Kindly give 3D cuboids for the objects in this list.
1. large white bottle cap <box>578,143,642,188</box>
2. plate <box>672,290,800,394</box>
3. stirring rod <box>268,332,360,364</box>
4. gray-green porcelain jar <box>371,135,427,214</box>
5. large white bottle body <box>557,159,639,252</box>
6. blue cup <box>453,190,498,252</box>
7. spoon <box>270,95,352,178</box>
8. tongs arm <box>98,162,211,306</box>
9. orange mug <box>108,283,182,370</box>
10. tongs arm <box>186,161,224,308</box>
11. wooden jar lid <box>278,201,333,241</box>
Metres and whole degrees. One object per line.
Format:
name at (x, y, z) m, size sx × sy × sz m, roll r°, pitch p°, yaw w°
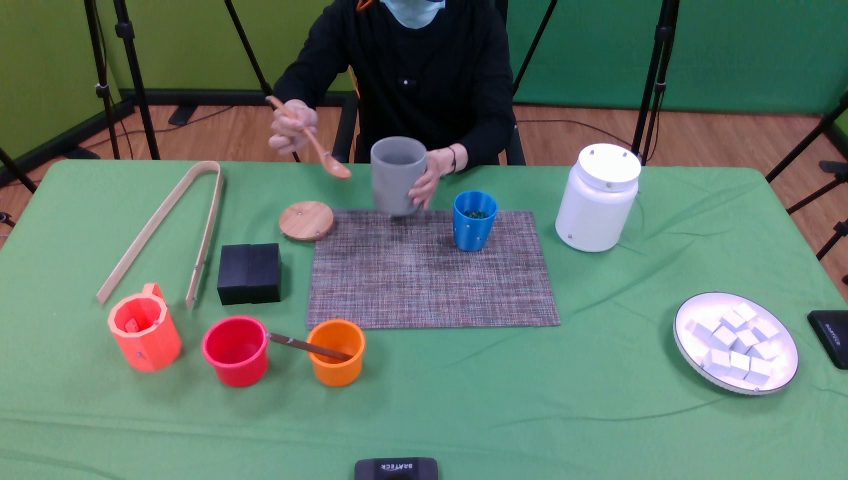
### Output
large white bottle cap at (0.344, -0.139, 1.123) m, size 0.115 × 0.018 × 0.114 m, roll 2°, pitch 46°, yaw -2°
plate at (0.533, 0.178, 1.050) m, size 0.208 × 0.039 × 0.206 m, roll 2°, pitch 46°, yaw -2°
stirring rod at (-0.167, 0.169, 0.941) m, size 0.177 × 0.006 × 0.014 m, roll 26°, pitch 26°, yaw -41°
gray-green porcelain jar at (-0.049, -0.123, 1.174) m, size 0.106 × 0.127 × 0.105 m, roll 2°, pitch 40°, yaw -2°
large white bottle body at (0.340, -0.081, 1.185) m, size 0.131 × 0.185 × 0.130 m, roll 2°, pitch 46°, yaw -1°
blue cup at (0.094, -0.032, 1.173) m, size 0.093 × 0.101 × 0.092 m, roll 3°, pitch 45°, yaw -3°
spoon at (-0.196, -0.179, 1.045) m, size 0.194 × 0.021 × 0.041 m, roll 50°, pitch 35°, yaw -3°
tongs arm at (-0.519, -0.027, 1.185) m, size 0.028 × 0.028 × 0.385 m, roll 4°, pitch 46°, yaw 14°
orange mug at (-0.445, 0.133, 0.983) m, size 0.083 × 0.101 × 0.125 m, roll -1°, pitch 50°, yaw -5°
tongs arm at (-0.435, -0.025, 1.180) m, size 0.051 × 0.027 × 0.382 m, roll -4°, pitch 46°, yaw 1°
wooden jar lid at (-0.236, -0.036, 1.213) m, size 0.108 × 0.021 × 0.107 m, roll 0°, pitch 47°, yaw 0°
